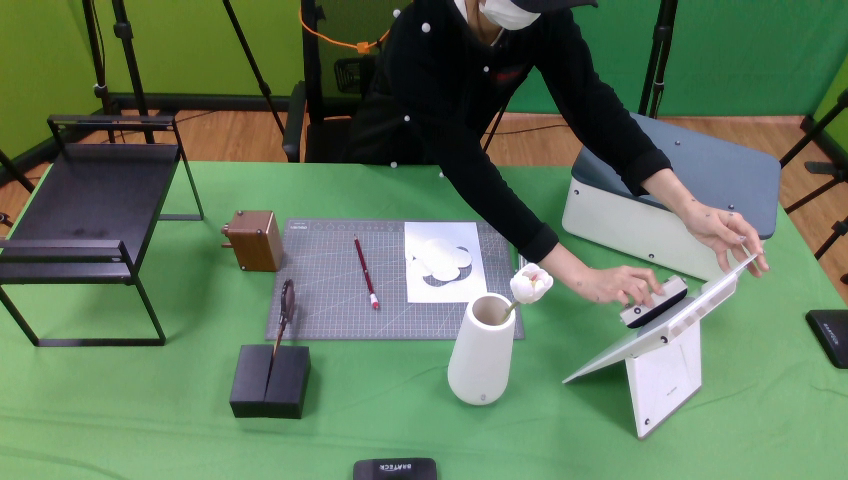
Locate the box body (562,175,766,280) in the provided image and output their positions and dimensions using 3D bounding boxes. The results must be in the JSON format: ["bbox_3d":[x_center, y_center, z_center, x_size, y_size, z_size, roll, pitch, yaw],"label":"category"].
[{"bbox_3d":[0.486,-0.088,1.222,0.363,0.161,0.253,20,48,15],"label":"box body"}]

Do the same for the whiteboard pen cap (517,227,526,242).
[{"bbox_3d":[0.196,-0.009,1.221,0.018,0.018,0.033,5,53,1],"label":"whiteboard pen cap"}]

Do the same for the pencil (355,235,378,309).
[{"bbox_3d":[-0.112,0.055,1.143,0.012,0.012,0.192,-9,45,-13],"label":"pencil"}]

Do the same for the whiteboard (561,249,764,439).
[{"bbox_3d":[0.386,0.176,0.905,0.217,0.306,0.143,-26,72,-26],"label":"whiteboard"}]

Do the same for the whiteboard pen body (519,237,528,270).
[{"bbox_3d":[0.194,0.035,1.181,0.017,0.017,0.140,6,48,2],"label":"whiteboard pen body"}]

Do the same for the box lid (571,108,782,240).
[{"bbox_3d":[0.491,-0.139,1.168,0.370,0.015,0.262,21,49,15],"label":"box lid"}]

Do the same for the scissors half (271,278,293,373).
[{"bbox_3d":[-0.236,0.137,0.994,0.013,0.040,0.174,1,55,2],"label":"scissors half"}]

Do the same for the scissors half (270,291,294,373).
[{"bbox_3d":[-0.237,0.151,1.009,0.013,0.040,0.174,5,38,-2],"label":"scissors half"}]

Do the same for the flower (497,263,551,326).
[{"bbox_3d":[0.103,0.121,0.852,0.044,0.363,0.038,-1,64,-9],"label":"flower"}]

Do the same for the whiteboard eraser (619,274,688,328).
[{"bbox_3d":[0.374,0.101,0.985,0.113,0.056,0.041,-37,78,13],"label":"whiteboard eraser"}]

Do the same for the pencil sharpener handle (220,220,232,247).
[{"bbox_3d":[-0.362,-0.009,1.104,0.030,0.068,0.036,1,52,1],"label":"pencil sharpener handle"}]

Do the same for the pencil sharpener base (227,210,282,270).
[{"bbox_3d":[-0.311,0.001,1.112,0.077,0.107,0.061,1,47,1],"label":"pencil sharpener base"}]

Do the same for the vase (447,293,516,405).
[{"bbox_3d":[0.091,0.169,0.921,0.098,0.201,0.097,3,47,-3],"label":"vase"}]
